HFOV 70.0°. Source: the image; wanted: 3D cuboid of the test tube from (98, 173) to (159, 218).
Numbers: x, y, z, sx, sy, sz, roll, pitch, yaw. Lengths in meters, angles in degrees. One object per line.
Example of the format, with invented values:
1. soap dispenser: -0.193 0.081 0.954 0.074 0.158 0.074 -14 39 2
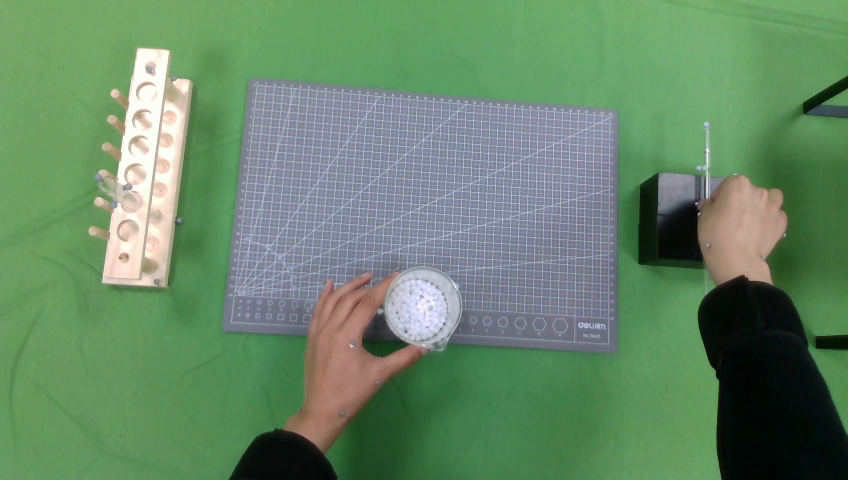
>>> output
1. test tube: -0.288 -0.041 0.597 0.017 0.150 0.017 1 82 -10

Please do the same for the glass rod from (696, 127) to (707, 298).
1. glass rod: 0.314 -0.033 0.684 0.008 0.008 0.199 7 80 -3

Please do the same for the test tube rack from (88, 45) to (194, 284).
1. test tube rack: -0.309 -0.078 0.652 0.067 0.085 0.241 4 80 -4

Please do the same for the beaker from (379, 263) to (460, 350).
1. beaker: -0.006 0.070 0.607 0.074 0.100 0.084 -23 84 -8
